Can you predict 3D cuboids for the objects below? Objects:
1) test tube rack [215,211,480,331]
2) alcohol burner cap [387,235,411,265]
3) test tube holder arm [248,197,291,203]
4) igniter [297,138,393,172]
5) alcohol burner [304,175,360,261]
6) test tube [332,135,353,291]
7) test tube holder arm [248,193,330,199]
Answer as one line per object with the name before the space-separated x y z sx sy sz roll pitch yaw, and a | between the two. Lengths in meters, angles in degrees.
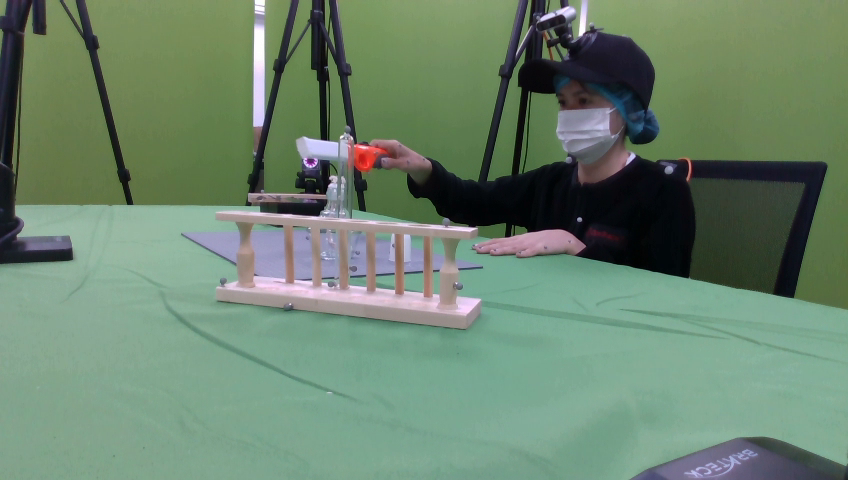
test tube rack | -0.071 0.023 0.565 0.242 0.085 0.067 5 7 16
alcohol burner cap | -0.035 0.009 0.839 0.034 0.048 0.034 2 6 0
test tube holder arm | -0.303 -0.080 1.191 0.088 0.010 0.015 -6 17 -40
igniter | -0.124 -0.146 1.033 0.025 0.057 0.277 -17 -4 25
alcohol burner | -0.126 -0.031 0.838 0.078 0.119 0.078 3 5 0
test tube | -0.078 -0.025 0.581 0.017 0.150 0.017 3 7 0
test tube holder arm | -0.268 -0.089 1.218 0.179 0.013 0.015 -6 17 -40
